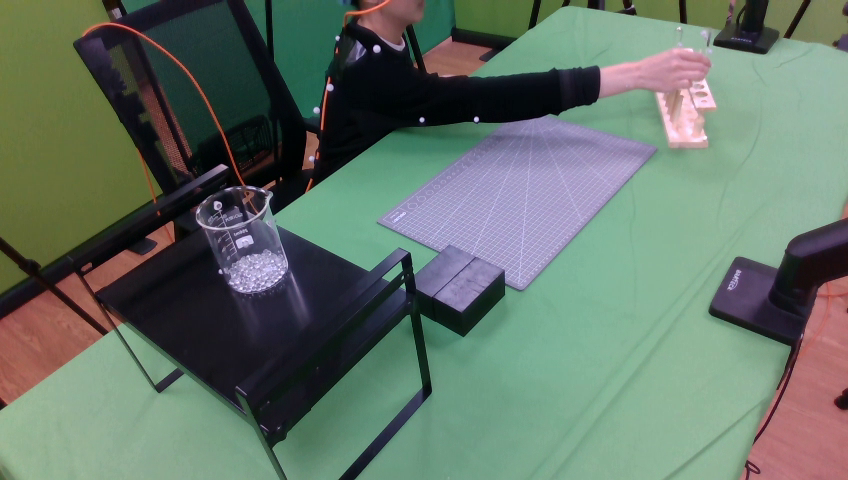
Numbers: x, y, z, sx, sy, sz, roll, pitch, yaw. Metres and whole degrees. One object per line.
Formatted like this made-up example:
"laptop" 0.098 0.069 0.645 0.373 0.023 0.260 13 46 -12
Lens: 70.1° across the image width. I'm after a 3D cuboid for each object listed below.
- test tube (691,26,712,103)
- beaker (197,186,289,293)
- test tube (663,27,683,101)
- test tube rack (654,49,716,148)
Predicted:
"test tube" 0.497 -0.310 1.084 0.017 0.151 0.017 -6 45 7
"beaker" -0.192 0.001 0.666 0.084 0.101 0.073 -33 47 -27
"test tube" 0.486 -0.341 1.181 0.017 0.151 0.017 -4 42 4
"test tube rack" 0.502 -0.281 1.176 0.066 0.085 0.241 1 41 11
